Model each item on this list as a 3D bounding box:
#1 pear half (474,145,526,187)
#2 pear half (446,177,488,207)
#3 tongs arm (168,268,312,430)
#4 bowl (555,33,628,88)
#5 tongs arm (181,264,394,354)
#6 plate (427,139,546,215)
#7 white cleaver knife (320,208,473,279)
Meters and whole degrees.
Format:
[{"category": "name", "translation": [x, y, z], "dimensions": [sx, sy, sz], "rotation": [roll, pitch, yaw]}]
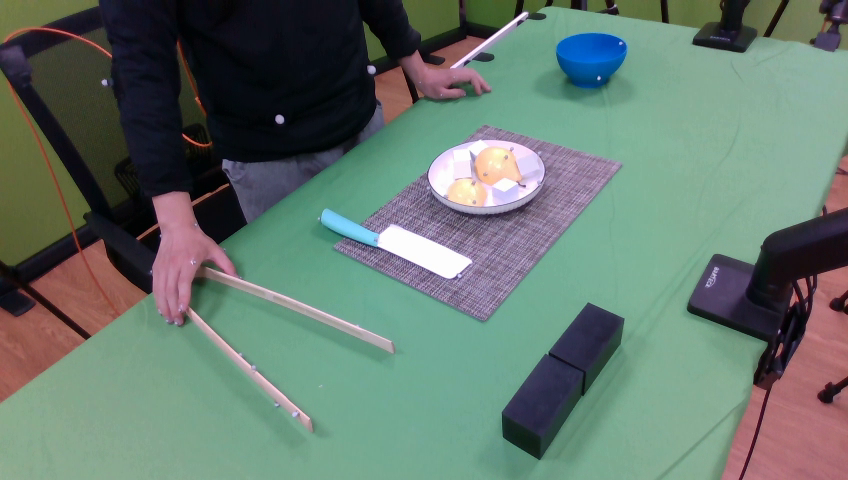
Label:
[{"category": "pear half", "translation": [0.140, -0.129, 1.059], "dimensions": [0.076, 0.056, 0.109], "rotation": [-37, 52, -25]}, {"category": "pear half", "translation": [0.073, -0.086, 1.031], "dimensions": [0.070, 0.031, 0.087], "rotation": [-20, 36, -10]}, {"category": "tongs arm", "translation": [-0.259, 0.136, 0.835], "dimensions": [0.381, 0.026, 0.051], "rotation": [27, 50, 35]}, {"category": "bowl", "translation": [0.361, -0.384, 1.318], "dimensions": [0.151, 0.077, 0.150], "rotation": [-4, 41, 4]}, {"category": "tongs arm", "translation": [-0.209, 0.095, 0.883], "dimensions": [0.385, 0.028, 0.028], "rotation": [16, 48, 25]}, {"category": "plate", "translation": [0.109, -0.106, 1.058], "dimensions": [0.207, 0.039, 0.206], "rotation": [-4, 41, 4]}, {"category": "white cleaver knife", "translation": [-0.053, 0.001, 0.978], "dimensions": [0.284, 0.021, 0.066], "rotation": [23, 39, 26]}]
